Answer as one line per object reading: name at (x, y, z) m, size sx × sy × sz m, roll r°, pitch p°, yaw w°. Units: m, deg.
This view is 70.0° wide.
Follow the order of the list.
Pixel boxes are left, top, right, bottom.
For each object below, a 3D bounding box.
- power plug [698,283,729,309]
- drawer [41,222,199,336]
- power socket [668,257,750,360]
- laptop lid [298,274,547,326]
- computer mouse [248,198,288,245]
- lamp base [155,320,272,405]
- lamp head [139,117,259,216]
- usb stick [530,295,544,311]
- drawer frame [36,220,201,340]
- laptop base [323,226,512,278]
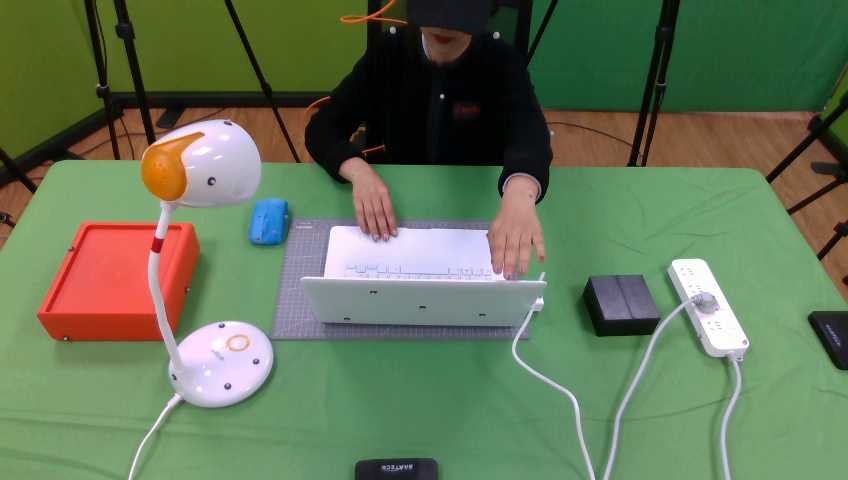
power plug at (0.510, 0.097, 1.062) m, size 0.052 × 0.073 × 0.035 m, roll -17°, pitch 62°, yaw 5°
drawer at (-0.519, 0.064, 1.057) m, size 0.195 × 0.073 × 0.210 m, roll 1°, pitch 46°, yaw -4°
power socket at (0.517, 0.117, 1.109) m, size 0.072 × 0.033 × 0.225 m, roll -3°, pitch 47°, yaw -4°
laptop lid at (-0.004, 0.099, 0.947) m, size 0.357 × 0.242 × 0.013 m, roll 2°, pitch 67°, yaw -4°
computer mouse at (-0.309, -0.041, 1.205) m, size 0.063 × 0.041 × 0.116 m, roll 3°, pitch 50°, yaw -3°
lamp base at (-0.330, 0.149, 0.918) m, size 0.160 × 0.181 × 0.179 m, roll 26°, pitch 52°, yaw 20°
lamp head at (-0.281, -0.086, 0.734) m, size 0.112 × 0.113 × 0.123 m, roll 21°, pitch 25°, yaw 16°
usb stick at (0.183, 0.112, 1.086) m, size 0.059 × 0.027 × 0.021 m, roll 0°, pitch 47°, yaw -4°
drawer frame at (-0.518, 0.065, 1.055) m, size 0.202 × 0.083 × 0.212 m, roll 0°, pitch 47°, yaw -5°
laptop base at (-0.010, 0.063, 1.137) m, size 0.354 × 0.023 × 0.234 m, roll 1°, pitch 42°, yaw -3°
